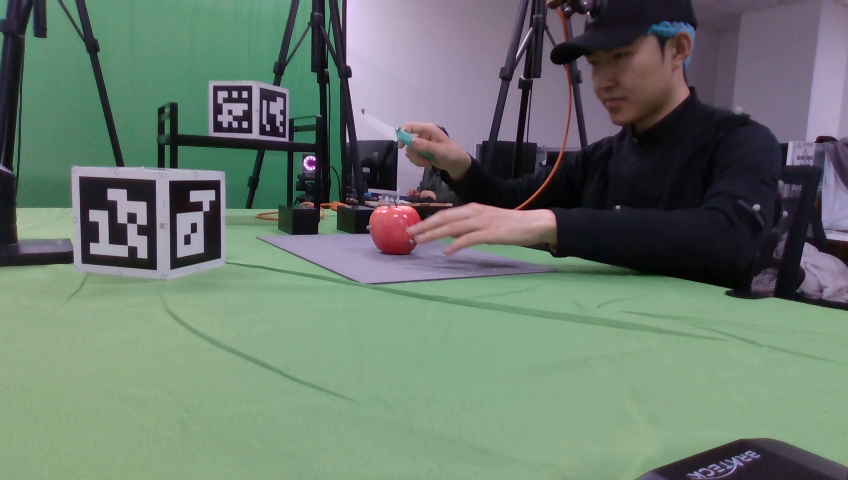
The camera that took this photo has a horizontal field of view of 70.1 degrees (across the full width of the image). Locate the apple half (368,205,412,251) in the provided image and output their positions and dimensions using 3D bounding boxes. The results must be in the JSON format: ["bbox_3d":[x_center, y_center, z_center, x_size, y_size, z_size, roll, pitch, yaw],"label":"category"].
[{"bbox_3d":[-0.059,-0.021,0.951,0.082,0.081,0.032,-2,14,-31],"label":"apple half"}]

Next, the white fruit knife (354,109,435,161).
[{"bbox_3d":[-0.047,-0.183,1.048,0.016,0.027,0.208,-6,-17,39],"label":"white fruit knife"}]

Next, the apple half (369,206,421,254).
[{"bbox_3d":[-0.038,-0.014,0.919,0.081,0.074,0.053,3,11,-32],"label":"apple half"}]
